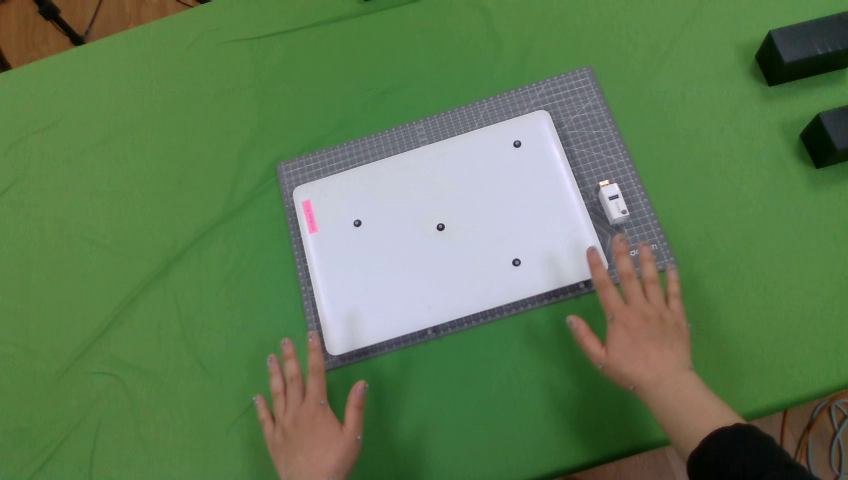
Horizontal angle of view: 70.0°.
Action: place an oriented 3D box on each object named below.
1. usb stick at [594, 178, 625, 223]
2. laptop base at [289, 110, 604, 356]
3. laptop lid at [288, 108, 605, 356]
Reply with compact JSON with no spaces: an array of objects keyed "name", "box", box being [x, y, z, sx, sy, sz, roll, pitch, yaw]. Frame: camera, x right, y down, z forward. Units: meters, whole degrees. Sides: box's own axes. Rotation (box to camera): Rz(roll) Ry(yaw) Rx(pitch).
[{"name":"usb stick","box":[0.224,-0.053,0.741,0.021,0.027,0.058,-19,66,6]},{"name":"laptop base","box":[0.018,-0.014,0.765,0.354,0.023,0.234,-18,73,2]},{"name":"laptop lid","box":[0.017,-0.016,0.753,0.357,0.013,0.240,-16,72,2]}]
